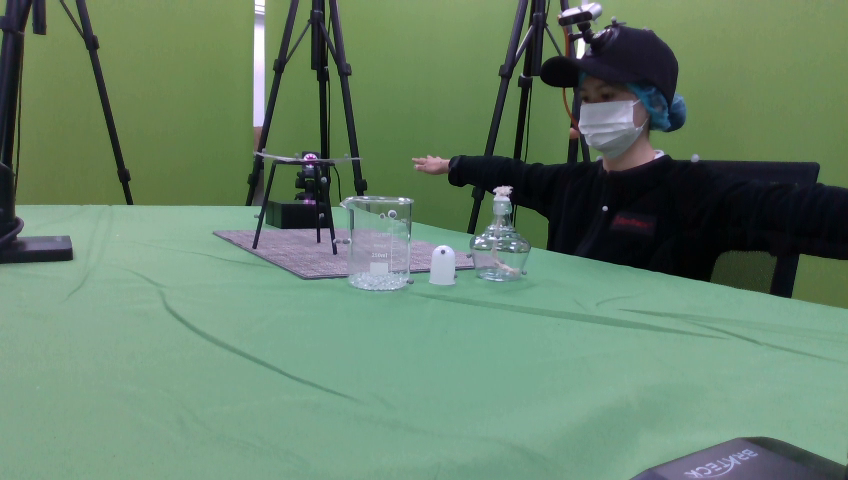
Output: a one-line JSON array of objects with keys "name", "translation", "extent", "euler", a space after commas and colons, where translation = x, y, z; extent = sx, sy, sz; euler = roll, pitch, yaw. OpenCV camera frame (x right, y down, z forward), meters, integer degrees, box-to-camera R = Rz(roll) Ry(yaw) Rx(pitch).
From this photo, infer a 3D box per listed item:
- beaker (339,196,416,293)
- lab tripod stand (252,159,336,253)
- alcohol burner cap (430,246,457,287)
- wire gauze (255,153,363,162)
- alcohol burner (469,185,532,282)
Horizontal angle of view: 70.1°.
[{"name": "beaker", "translation": [-0.052, 0.004, 0.661], "extent": [0.084, 0.100, 0.073], "euler": [0, 7, -18]}, {"name": "lab tripod stand", "translation": [-0.180, -0.053, 0.900], "extent": [0.148, 0.131, 0.148], "euler": [1, 6, 0]}, {"name": "alcohol burner cap", "translation": [0.024, 0.030, 0.705], "extent": [0.034, 0.048, 0.034], "euler": [2, 6, 0]}, {"name": "wire gauze", "translation": [-0.172, -0.119, 0.891], "extent": [0.122, 0.011, 0.124], "euler": [-2, 7, -38]}, {"name": "alcohol burner", "translation": [0.096, -0.008, 0.752], "extent": [0.078, 0.119, 0.078], "euler": [3, 5, 0]}]
